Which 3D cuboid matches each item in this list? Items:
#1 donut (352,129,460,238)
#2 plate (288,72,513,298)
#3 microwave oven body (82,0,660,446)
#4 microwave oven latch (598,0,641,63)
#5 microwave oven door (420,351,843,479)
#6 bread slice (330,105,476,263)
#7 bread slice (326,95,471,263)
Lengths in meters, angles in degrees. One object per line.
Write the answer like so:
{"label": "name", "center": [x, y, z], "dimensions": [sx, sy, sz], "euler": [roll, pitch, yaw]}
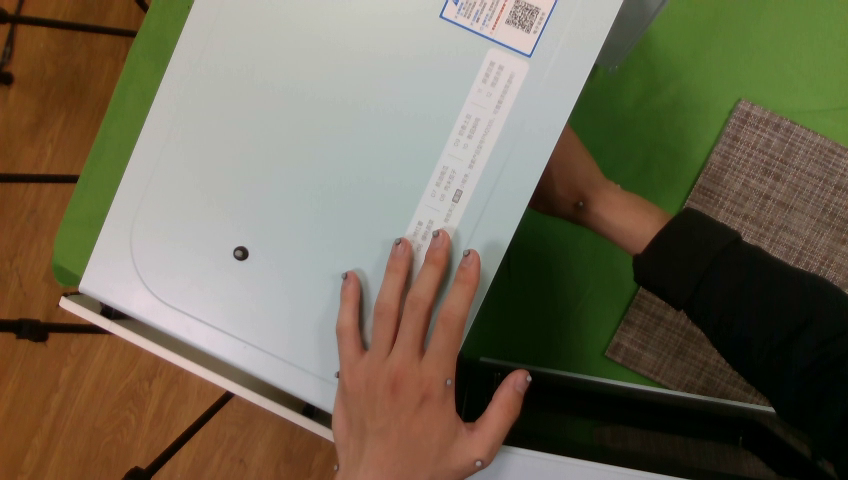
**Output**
{"label": "donut", "center": [-0.016, -0.051, 0.548], "dimensions": [0.099, 0.048, 0.099], "euler": [0, 98, 1]}
{"label": "plate", "center": [-0.022, -0.050, 0.574], "dimensions": [0.208, 0.039, 0.208], "euler": [0, 96, 1]}
{"label": "microwave oven body", "center": [-0.028, -0.115, 0.529], "dimensions": [0.326, 0.260, 0.442], "euler": [25, 96, 4]}
{"label": "microwave oven latch", "center": [0.190, -0.219, 0.597], "dimensions": [0.030, 0.029, 0.079], "euler": [25, 96, 4]}
{"label": "microwave oven door", "center": [0.184, 0.163, 0.519], "dimensions": [0.355, 0.244, 0.039], "euler": [8, 93, 6]}
{"label": "bread slice", "center": [-0.028, -0.057, 0.572], "dimensions": [0.107, 0.018, 0.135], "euler": [-26, 99, -1]}
{"label": "bread slice", "center": [-0.030, -0.054, 0.515], "dimensions": [0.105, 0.019, 0.131], "euler": [-19, 93, 9]}
